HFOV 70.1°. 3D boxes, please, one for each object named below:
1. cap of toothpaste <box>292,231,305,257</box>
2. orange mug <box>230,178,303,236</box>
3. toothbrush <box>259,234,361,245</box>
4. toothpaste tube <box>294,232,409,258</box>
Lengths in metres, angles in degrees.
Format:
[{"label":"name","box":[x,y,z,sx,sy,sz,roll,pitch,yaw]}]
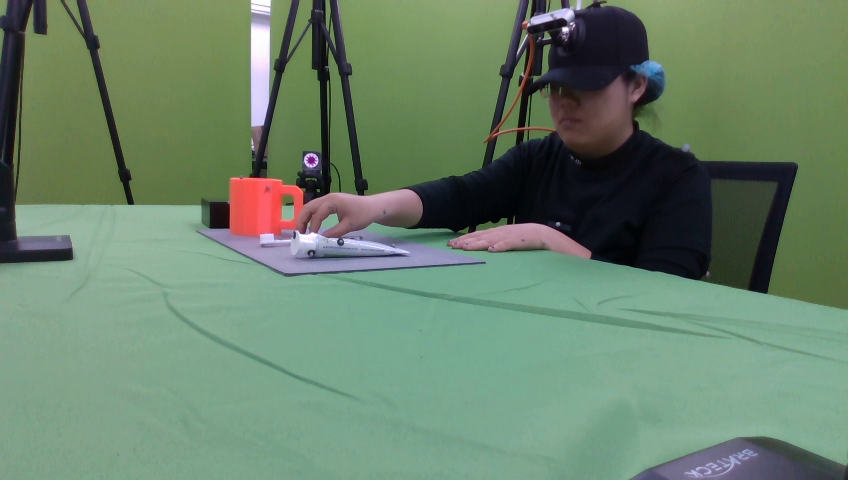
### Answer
[{"label":"cap of toothpaste","box":[-0.169,0.005,0.812,0.011,0.037,0.037,6,4,-30]},{"label":"orange mug","box":[-0.275,-0.060,1.058,0.126,0.101,0.083,-2,8,-5]},{"label":"toothbrush","box":[-0.177,-0.002,0.960,0.183,0.016,0.014,-1,-12,-40]},{"label":"toothpaste tube","box":[-0.103,0.010,0.853,0.166,0.034,0.055,3,11,-34]}]
